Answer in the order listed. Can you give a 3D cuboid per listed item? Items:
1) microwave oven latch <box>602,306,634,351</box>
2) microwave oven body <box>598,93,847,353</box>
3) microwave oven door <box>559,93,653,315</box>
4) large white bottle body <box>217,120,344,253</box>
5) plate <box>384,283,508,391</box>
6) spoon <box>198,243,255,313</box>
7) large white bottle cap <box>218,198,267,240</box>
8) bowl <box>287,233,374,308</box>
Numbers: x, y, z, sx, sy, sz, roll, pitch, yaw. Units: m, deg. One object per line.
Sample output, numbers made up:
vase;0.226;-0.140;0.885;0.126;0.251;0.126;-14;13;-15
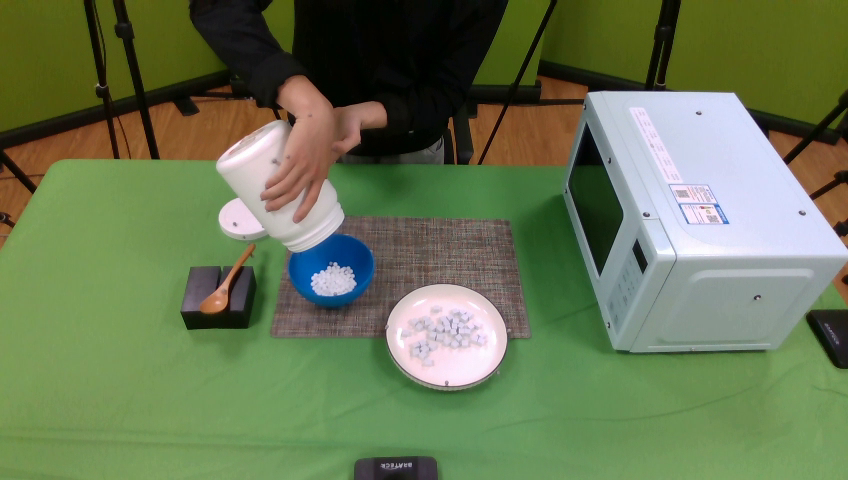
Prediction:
microwave oven latch;0.332;0.153;1.044;0.030;0.029;0.078;0;45;-4
microwave oven body;0.475;-0.041;1.109;0.326;0.261;0.438;-1;45;-4
microwave oven door;0.327;-0.074;1.123;0.039;0.245;0.353;-1;46;-5
large white bottle body;-0.223;-0.082;0.972;0.130;0.185;0.130;-26;25;14
plate;0.036;0.166;1.029;0.209;0.038;0.208;2;49;-2
spoon;-0.333;0.062;1.052;0.041;0.022;0.193;9;40;8
large white bottle cap;-0.355;-0.045;1.220;0.115;0.018;0.114;2;45;-2
bowl;-0.165;0.068;1.078;0.151;0.077;0.150;3;45;-3
